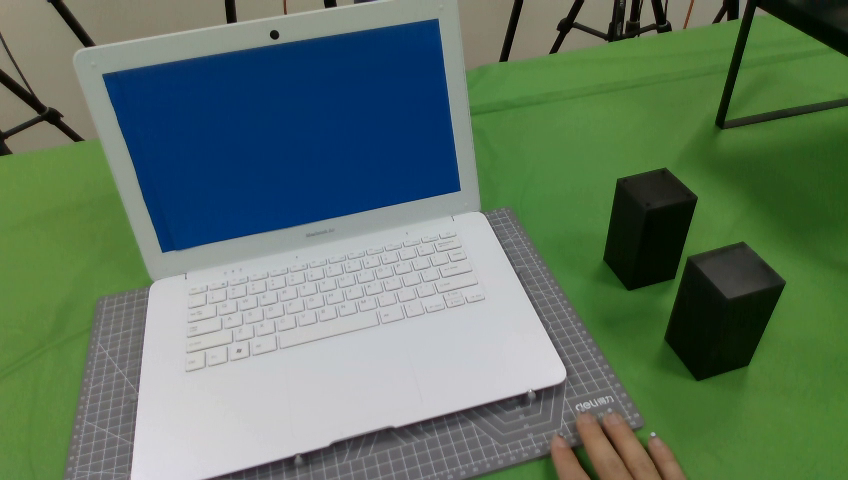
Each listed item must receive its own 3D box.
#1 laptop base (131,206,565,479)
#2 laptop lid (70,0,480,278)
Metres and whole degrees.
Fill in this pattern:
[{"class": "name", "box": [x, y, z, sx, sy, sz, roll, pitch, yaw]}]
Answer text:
[{"class": "laptop base", "box": [-0.078, 0.079, 0.562, 0.355, 0.023, 0.233, -13, 45, -9]}, {"class": "laptop lid", "box": [-0.125, -0.101, 0.599, 0.357, 0.243, 0.013, -14, 24, -8]}]
